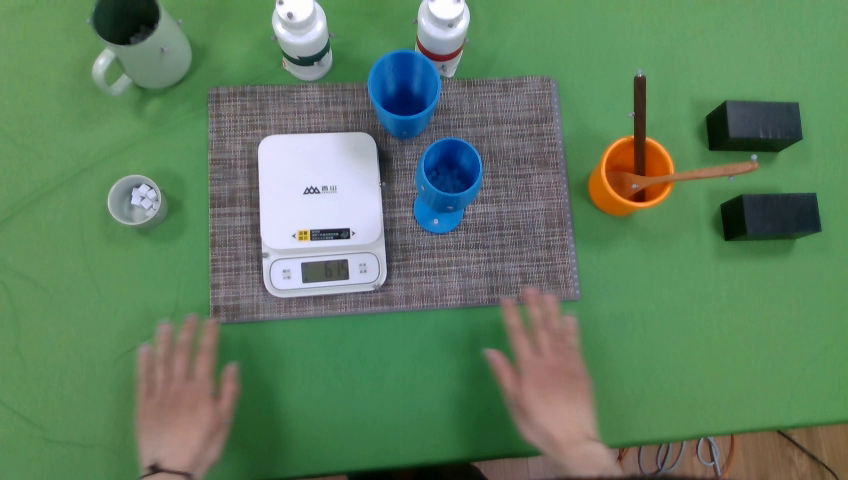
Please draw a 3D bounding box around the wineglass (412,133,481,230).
[{"bbox_3d":[0.021,-0.061,0.690,0.074,0.172,0.073,1,79,-3],"label":"wineglass"}]

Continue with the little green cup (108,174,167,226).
[{"bbox_3d":[-0.343,-0.046,0.733,0.061,0.039,0.061,1,80,-5],"label":"little green cup"}]

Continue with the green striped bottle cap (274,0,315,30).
[{"bbox_3d":[-0.147,-0.264,0.688,0.044,0.020,0.044,1,79,-2],"label":"green striped bottle cap"}]

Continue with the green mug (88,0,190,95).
[{"bbox_3d":[-0.351,-0.231,0.732,0.092,0.105,0.125,31,79,2],"label":"green mug"}]

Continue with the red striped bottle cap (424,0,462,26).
[{"bbox_3d":[0.022,-0.274,0.705,0.044,0.018,0.044,1,77,-3],"label":"red striped bottle cap"}]

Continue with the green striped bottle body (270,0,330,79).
[{"bbox_3d":[-0.151,-0.252,0.743,0.063,0.119,0.063,1,79,-4],"label":"green striped bottle body"}]

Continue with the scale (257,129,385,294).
[{"bbox_3d":[-0.128,-0.038,0.747,0.149,0.031,0.200,-4,81,-5],"label":"scale"}]

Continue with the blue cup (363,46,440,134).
[{"bbox_3d":[-0.027,-0.175,0.745,0.093,0.100,0.092,0,82,-3],"label":"blue cup"}]

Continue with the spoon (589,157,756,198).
[{"bbox_3d":[0.292,-0.079,0.730,0.022,0.192,0.041,0,87,-48],"label":"spoon"}]

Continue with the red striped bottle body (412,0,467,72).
[{"bbox_3d":[0.019,-0.264,0.758,0.063,0.120,0.063,1,79,-4],"label":"red striped bottle body"}]

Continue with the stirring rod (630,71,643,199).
[{"bbox_3d":[0.257,-0.121,0.733,0.014,0.178,0.006,8,44,27],"label":"stirring rod"}]
